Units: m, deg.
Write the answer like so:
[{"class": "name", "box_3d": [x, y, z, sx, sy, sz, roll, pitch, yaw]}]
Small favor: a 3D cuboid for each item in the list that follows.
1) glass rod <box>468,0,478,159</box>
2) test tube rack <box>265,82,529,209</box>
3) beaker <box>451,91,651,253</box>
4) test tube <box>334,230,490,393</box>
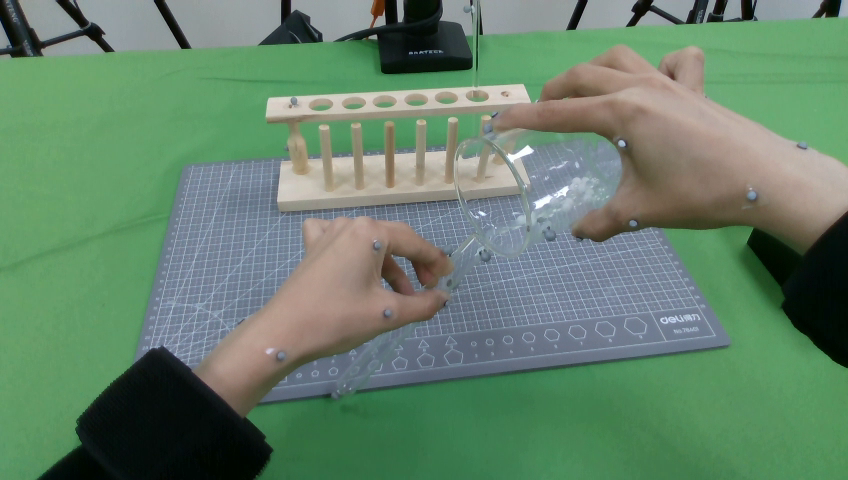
[{"class": "glass rod", "box_3d": [0.045, -0.165, 0.561, 0.008, 0.201, 0.008, -1, 37, 1]}, {"class": "test tube rack", "box_3d": [-0.022, -0.091, 0.580, 0.243, 0.086, 0.066, -4, 44, -5]}, {"class": "beaker", "box_3d": [0.078, -0.042, 0.366, 0.100, 0.084, 0.073, -23, 61, -22]}, {"class": "test tube", "box_3d": [-0.011, 0.050, 0.402, 0.017, 0.150, 0.017, 38, 18, -14]}]
